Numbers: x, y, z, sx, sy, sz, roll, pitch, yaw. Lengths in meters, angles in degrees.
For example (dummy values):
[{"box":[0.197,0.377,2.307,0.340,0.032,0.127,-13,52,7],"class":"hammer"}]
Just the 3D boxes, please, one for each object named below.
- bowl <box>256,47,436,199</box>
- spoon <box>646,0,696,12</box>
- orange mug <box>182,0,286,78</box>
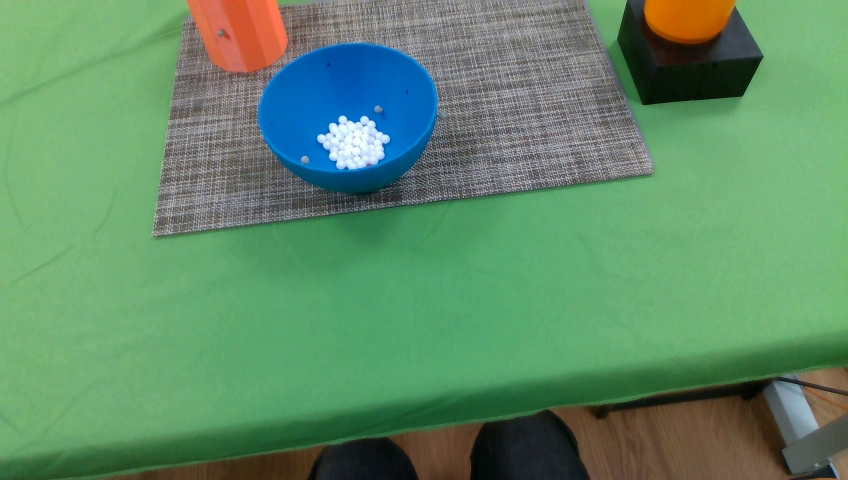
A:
[{"box":[-0.063,-0.089,0.535,0.151,0.077,0.150,-1,57,2],"class":"bowl"},{"box":[0.281,-0.240,0.520,0.022,0.193,0.041,50,58,-18],"class":"spoon"},{"box":[-0.194,-0.248,0.630,0.083,0.101,0.125,3,62,5],"class":"orange mug"}]
